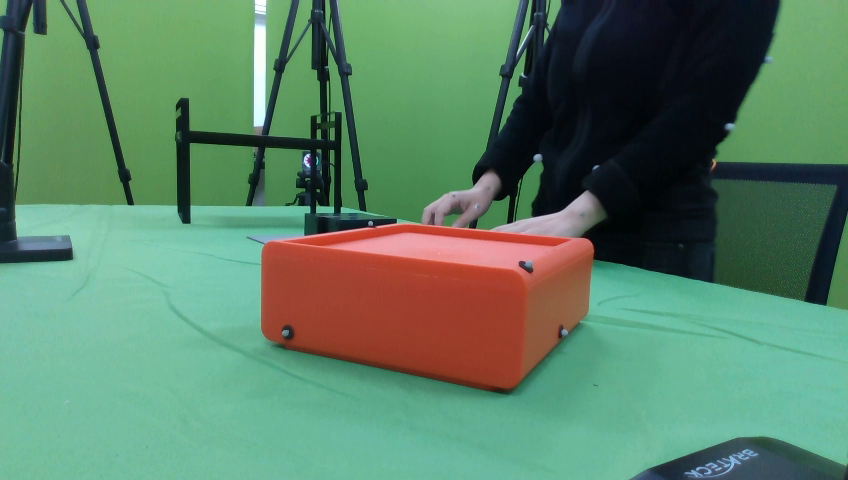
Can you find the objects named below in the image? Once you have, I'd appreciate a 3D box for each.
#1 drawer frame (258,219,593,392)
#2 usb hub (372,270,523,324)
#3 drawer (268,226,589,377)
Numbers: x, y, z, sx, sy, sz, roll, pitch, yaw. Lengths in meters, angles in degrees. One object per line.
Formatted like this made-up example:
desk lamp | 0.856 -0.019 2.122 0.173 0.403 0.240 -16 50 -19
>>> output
drawer frame | 0.015 0.036 0.492 0.201 0.082 0.214 6 9 24
usb hub | 0.020 0.048 0.527 0.124 0.025 0.050 8 7 25
drawer | 0.015 0.037 0.493 0.194 0.073 0.212 7 8 25
